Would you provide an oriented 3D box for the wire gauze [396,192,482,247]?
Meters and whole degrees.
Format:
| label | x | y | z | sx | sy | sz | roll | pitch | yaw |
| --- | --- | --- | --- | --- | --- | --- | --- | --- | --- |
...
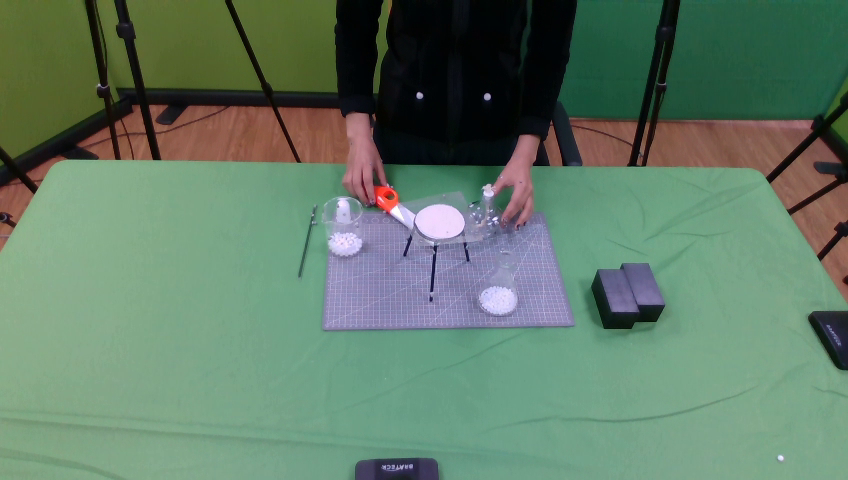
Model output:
| label | x | y | z | sx | sy | sz | roll | pitch | yaw |
| --- | --- | --- | --- | --- | --- | --- | --- | --- | --- |
| wire gauze | 0.025 | -0.036 | 1.061 | 0.125 | 0.011 | 0.120 | -9 | 47 | -14 |

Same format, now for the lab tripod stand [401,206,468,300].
| label | x | y | z | sx | sy | sz | roll | pitch | yaw |
| --- | --- | --- | --- | --- | --- | --- | --- | --- | --- |
| lab tripod stand | 0.023 | 0.013 | 1.108 | 0.148 | 0.132 | 0.147 | 3 | 44 | -2 |

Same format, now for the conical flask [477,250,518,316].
| label | x | y | z | sx | sy | sz | roll | pitch | yaw |
| --- | --- | --- | --- | --- | --- | --- | --- | --- | --- |
| conical flask | 0.136 | 0.072 | 1.067 | 0.075 | 0.122 | 0.075 | 2 | 46 | -2 |

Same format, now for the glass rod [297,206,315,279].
| label | x | y | z | sx | sy | sz | roll | pitch | yaw |
| --- | --- | --- | --- | --- | --- | --- | --- | --- | --- |
| glass rod | -0.231 | 0.000 | 1.191 | 0.008 | 0.008 | 0.198 | 2 | 46 | -1 |

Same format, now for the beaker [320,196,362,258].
| label | x | y | z | sx | sy | sz | roll | pitch | yaw |
| --- | --- | --- | --- | --- | --- | --- | --- | --- | --- |
| beaker | -0.156 | -0.021 | 1.150 | 0.084 | 0.101 | 0.073 | -30 | 55 | -28 |

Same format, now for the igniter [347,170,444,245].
| label | x | y | z | sx | sy | sz | roll | pitch | yaw |
| --- | --- | --- | --- | --- | --- | --- | --- | --- | --- |
| igniter | -0.067 | -0.071 | 1.259 | 0.275 | 0.025 | 0.057 | 36 | 66 | 28 |

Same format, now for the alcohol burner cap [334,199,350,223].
| label | x | y | z | sx | sy | sz | roll | pitch | yaw |
| --- | --- | --- | --- | --- | --- | --- | --- | --- | --- |
| alcohol burner cap | -0.167 | -0.061 | 1.227 | 0.034 | 0.048 | 0.033 | 2 | 46 | -2 |

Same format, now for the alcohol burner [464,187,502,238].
| label | x | y | z | sx | sy | sz | roll | pitch | yaw |
| --- | --- | --- | --- | --- | --- | --- | --- | --- | --- |
| alcohol burner | 0.120 | -0.061 | 1.201 | 0.078 | 0.119 | 0.077 | 4 | 47 | -4 |
